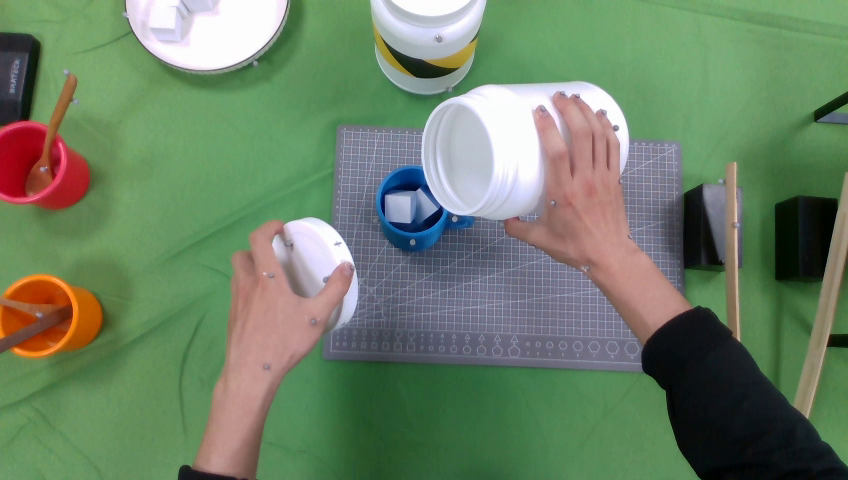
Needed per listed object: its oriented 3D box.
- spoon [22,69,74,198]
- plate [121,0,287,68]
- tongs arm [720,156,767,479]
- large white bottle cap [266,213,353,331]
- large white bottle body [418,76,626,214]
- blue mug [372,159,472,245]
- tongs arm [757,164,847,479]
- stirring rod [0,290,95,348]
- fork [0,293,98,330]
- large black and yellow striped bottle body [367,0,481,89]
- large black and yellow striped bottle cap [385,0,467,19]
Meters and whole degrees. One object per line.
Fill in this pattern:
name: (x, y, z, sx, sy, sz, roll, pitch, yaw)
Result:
spoon: (-0.430, -0.118, 0.693, 0.041, 0.021, 0.194, 48, 126, 8)
plate: (-0.278, -0.317, 0.782, 0.208, 0.039, 0.207, 0, 82, -2)
tongs arm: (0.379, 0.094, 0.717, 0.051, 0.026, 0.385, -2, 94, -5)
large white bottle cap: (-0.113, 0.032, 0.588, 0.018, 0.114, 0.114, -14, 79, -48)
large white bottle body: (0.098, -0.097, 0.612, 0.185, 0.130, 0.130, -13, 80, -35)
blue mug: (-0.001, -0.039, 0.717, 0.116, 0.106, 0.082, 10, 81, -1)
tongs arm: (0.461, 0.098, 0.723, 0.028, 0.027, 0.387, 11, 93, -9)
stirring rod: (-0.445, 0.100, 0.664, 0.014, 0.006, 0.176, 49, 40, 2)
fork: (-0.466, 0.061, 0.663, 0.209, 0.018, 0.028, 29, 76, -42)
large black and yellow striped bottle body: (-0.001, -0.273, 0.714, 0.131, 0.184, 0.130, 0, 81, -2)
large black and yellow striped bottle cap: (0.002, -0.288, 0.631, 0.115, 0.019, 0.114, 1, 83, -3)
